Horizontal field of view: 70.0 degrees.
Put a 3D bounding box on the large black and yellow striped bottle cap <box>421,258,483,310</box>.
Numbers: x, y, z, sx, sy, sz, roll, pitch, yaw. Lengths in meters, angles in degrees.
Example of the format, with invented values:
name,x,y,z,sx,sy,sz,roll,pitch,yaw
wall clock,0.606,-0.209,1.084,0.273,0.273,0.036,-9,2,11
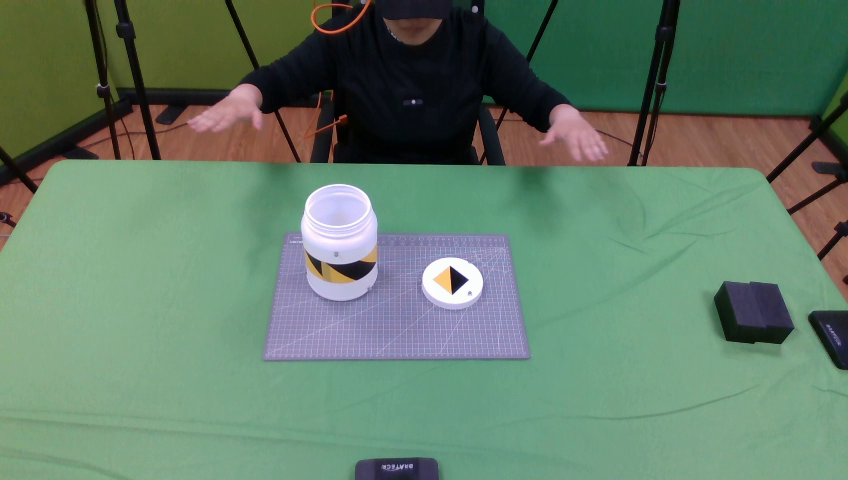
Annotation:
name,x,y,z,sx,sy,sz,roll,pitch,yaw
large black and yellow striped bottle cap,0.053,0.080,1.126,0.115,0.019,0.114,2,45,-1

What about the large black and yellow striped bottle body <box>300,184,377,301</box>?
name,x,y,z,sx,sy,sz,roll,pitch,yaw
large black and yellow striped bottle body,-0.148,0.004,1.067,0.131,0.185,0.130,2,46,-2
